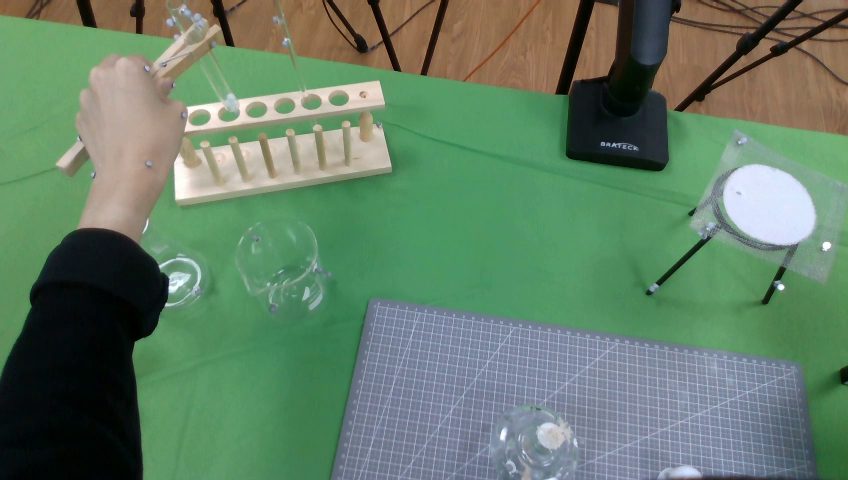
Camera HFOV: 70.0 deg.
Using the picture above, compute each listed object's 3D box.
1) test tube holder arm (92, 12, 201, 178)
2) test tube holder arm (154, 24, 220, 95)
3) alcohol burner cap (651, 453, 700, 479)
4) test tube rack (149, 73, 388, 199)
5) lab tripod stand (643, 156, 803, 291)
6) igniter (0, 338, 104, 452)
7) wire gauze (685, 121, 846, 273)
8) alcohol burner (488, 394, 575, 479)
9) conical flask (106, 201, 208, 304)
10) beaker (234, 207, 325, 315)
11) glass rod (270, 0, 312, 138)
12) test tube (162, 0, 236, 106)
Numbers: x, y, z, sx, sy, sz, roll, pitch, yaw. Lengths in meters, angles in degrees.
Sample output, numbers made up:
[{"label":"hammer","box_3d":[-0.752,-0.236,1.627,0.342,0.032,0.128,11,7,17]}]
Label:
[{"label":"test tube holder arm","box_3d":[-0.223,-0.123,0.494,0.013,0.015,0.177,28,58,-18]},{"label":"test tube holder arm","box_3d":[-0.205,-0.156,0.519,0.010,0.015,0.087,39,55,-13]},{"label":"alcohol burner cap","box_3d":[0.230,0.208,0.549,0.034,0.048,0.033,1,63,-2]},{"label":"test tube rack","box_3d":[-0.166,-0.115,0.675,0.243,0.086,0.066,-11,63,-8]},{"label":"lab tripod stand","box_3d":[0.308,-0.010,0.615,0.148,0.132,0.147,2,62,-3]},{"label":"igniter","box_3d":[-0.386,0.189,0.490,0.057,0.025,0.276,33,66,25]},{"label":"wire gauze","box_3d":[0.318,-0.042,0.556,0.121,0.011,0.124,28,66,10]},{"label":"alcohol burner","box_3d":[0.096,0.168,0.523,0.078,0.120,0.077,2,62,-3]},{"label":"conical flask","box_3d":[-0.263,0.008,0.587,0.075,0.123,0.074,1,62,-1]},{"label":"beaker","box_3d":[-0.139,0.028,0.596,0.074,0.101,0.083,22,65,10]},{"label":"glass rod","box_3d":[-0.135,-0.173,0.632,0.008,0.201,0.008,-2,55,3]},{"label":"test tube","box_3d":[-0.199,-0.167,0.547,0.017,0.151,0.017,0,70,1]}]
